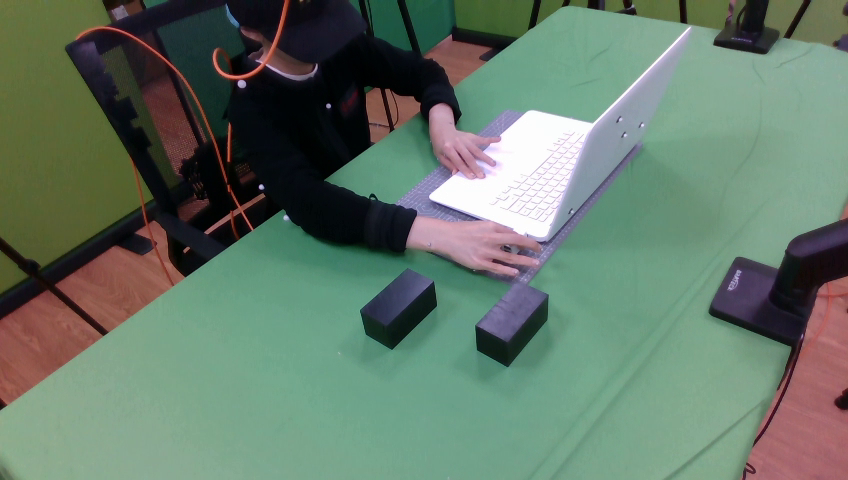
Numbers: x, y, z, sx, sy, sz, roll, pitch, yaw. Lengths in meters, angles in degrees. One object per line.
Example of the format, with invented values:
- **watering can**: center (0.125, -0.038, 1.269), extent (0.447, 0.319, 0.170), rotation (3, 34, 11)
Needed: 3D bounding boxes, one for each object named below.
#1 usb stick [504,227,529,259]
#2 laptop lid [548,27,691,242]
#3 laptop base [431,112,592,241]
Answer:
- **usb stick**: center (0.148, 0.000, 0.939), extent (0.021, 0.027, 0.059), rotation (23, 51, 29)
- **laptop lid**: center (0.310, -0.167, 0.948), extent (0.013, 0.242, 0.358), rotation (33, 52, 20)
- **laptop base**: center (0.207, -0.129, 1.099), extent (0.233, 0.023, 0.355), rotation (20, 47, 34)
